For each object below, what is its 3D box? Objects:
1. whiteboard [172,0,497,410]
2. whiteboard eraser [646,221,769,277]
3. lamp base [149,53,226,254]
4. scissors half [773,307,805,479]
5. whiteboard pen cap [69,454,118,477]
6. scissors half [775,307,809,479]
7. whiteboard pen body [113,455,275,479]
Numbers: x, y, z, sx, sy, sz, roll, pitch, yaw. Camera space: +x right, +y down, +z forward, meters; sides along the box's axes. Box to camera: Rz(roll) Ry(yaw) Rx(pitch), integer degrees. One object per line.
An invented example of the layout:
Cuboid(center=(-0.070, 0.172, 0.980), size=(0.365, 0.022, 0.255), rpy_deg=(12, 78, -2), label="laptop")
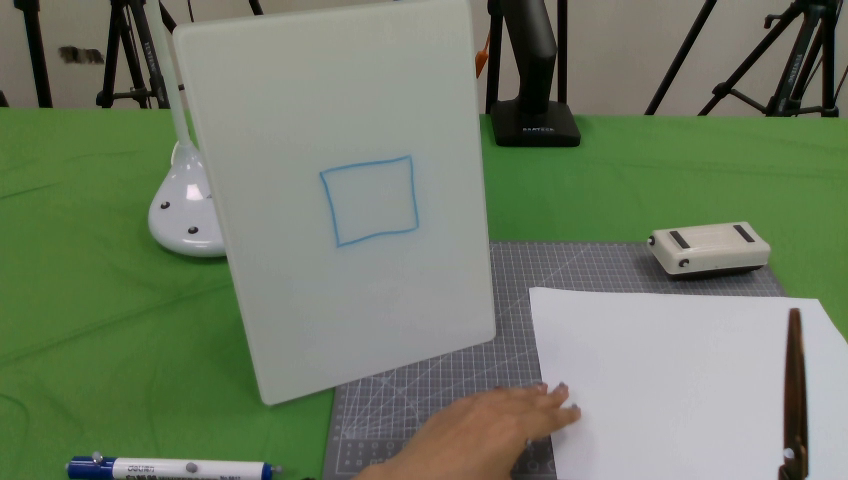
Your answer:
Cuboid(center=(-0.071, -0.043, 0.542), size=(0.218, 0.307, 0.142), rpy_deg=(-13, 22, -16), label="whiteboard")
Cuboid(center=(0.301, 0.011, 0.647), size=(0.113, 0.042, 0.055), rpy_deg=(-5, 40, -8), label="whiteboard eraser")
Cuboid(center=(-0.243, -0.102, 0.663), size=(0.177, 0.182, 0.160), rpy_deg=(28, 46, 33), label="lamp base")
Cuboid(center=(0.189, 0.120, 0.323), size=(0.013, 0.176, 0.040), rpy_deg=(-7, 13, -7), label="scissors half")
Cuboid(center=(-0.242, 0.167, 0.447), size=(0.033, 0.018, 0.018), rpy_deg=(2, 39, -4), label="whiteboard pen cap")
Cuboid(center=(0.190, 0.120, 0.303), size=(0.013, 0.175, 0.040), rpy_deg=(-7, -3, -2), label="scissors half")
Cuboid(center=(-0.182, 0.168, 0.450), size=(0.141, 0.017, 0.017), rpy_deg=(2, 39, -2), label="whiteboard pen body")
